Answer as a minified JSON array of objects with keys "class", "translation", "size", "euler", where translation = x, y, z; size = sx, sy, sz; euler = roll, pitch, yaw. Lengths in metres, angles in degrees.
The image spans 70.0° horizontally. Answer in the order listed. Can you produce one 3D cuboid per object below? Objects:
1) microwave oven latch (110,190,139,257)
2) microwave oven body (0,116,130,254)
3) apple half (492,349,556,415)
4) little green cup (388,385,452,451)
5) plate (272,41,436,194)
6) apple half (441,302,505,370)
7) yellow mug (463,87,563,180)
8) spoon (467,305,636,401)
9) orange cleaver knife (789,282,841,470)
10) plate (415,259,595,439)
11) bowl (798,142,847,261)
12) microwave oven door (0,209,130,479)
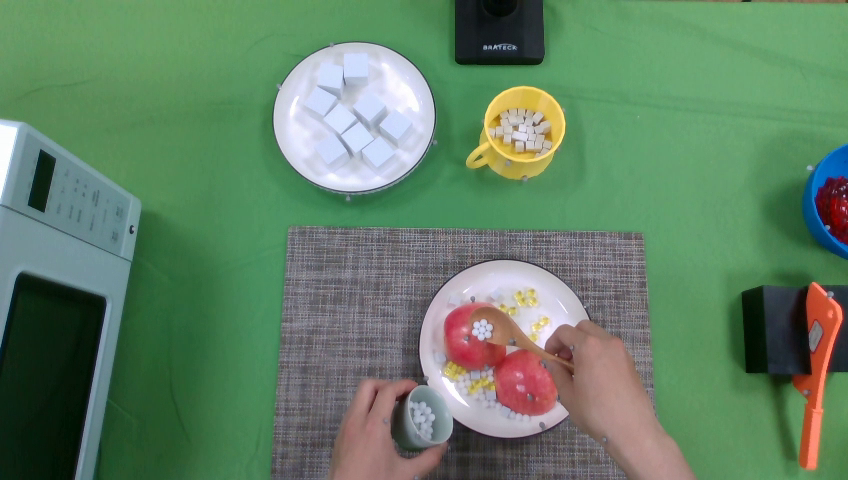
[{"class":"microwave oven latch","translation":[-0.367,-0.020,0.732],"size":[0.030,0.029,0.079],"euler":[6,78,1]},{"class":"microwave oven body","translation":[-0.528,0.118,0.600],"size":[0.326,0.261,0.439],"euler":[4,78,0]},{"class":"apple half","translation":[0.117,0.164,0.702],"size":[0.081,0.033,0.081],"euler":[0,74,1]},{"class":"little green cup","translation":[-0.006,0.187,0.627],"size":[0.062,0.039,0.061],"euler":[25,40,-23]},{"class":"plate","translation":[-0.088,-0.156,0.784],"size":[0.208,0.039,0.206],"euler":[0,77,0]},{"class":"apple half","translation":[0.057,0.110,0.704],"size":[0.074,0.053,0.080],"euler":[-1,77,2]},{"class":"yellow mug","translation":[0.106,-0.126,0.763],"size":[0.131,0.064,0.099],"euler":[-30,78,-6]},{"class":"spoon","translation":[0.125,0.119,0.624],"size":[0.192,0.022,0.041],"euler":[25,96,36]},{"class":"orange cleaver knife","translation":[0.439,0.155,0.693],"size":[0.012,0.077,0.212],"euler":[2,101,4]},{"class":"plate","translation":[0.093,0.126,0.716],"size":[0.209,0.038,0.208],"euler":[0,78,-1]},{"class":"bowl","translation":[0.521,-0.037,0.739],"size":[0.151,0.077,0.150],"euler":[0,77,0]},{"class":"microwave oven door","translation":[-0.385,0.169,0.584],"size":[0.039,0.245,0.354],"euler":[4,77,1]}]
